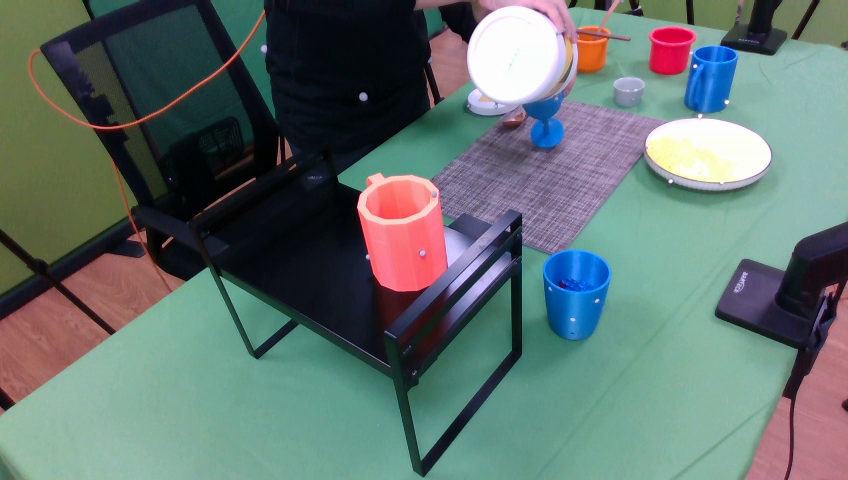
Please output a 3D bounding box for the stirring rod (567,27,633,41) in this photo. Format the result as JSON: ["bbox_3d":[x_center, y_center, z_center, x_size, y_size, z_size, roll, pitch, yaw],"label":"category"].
[{"bbox_3d":[0.381,-0.463,1.356,0.175,0.006,0.014,22,47,30],"label":"stirring rod"}]

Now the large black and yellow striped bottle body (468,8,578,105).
[{"bbox_3d":[0.156,-0.273,0.907,0.130,0.131,0.185,12,20,22],"label":"large black and yellow striped bottle body"}]

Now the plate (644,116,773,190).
[{"bbox_3d":[0.495,-0.149,1.063,0.209,0.038,0.208,-5,40,4],"label":"plate"}]

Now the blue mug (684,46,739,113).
[{"bbox_3d":[0.556,-0.310,1.190,0.117,0.106,0.081,-32,46,-25],"label":"blue mug"}]

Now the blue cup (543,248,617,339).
[{"bbox_3d":[0.199,0.076,0.797,0.092,0.100,0.092,-4,39,4],"label":"blue cup"}]

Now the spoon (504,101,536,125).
[{"bbox_3d":[0.227,-0.285,1.269,0.041,0.022,0.194,1,36,45],"label":"spoon"}]

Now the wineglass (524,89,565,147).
[{"bbox_3d":[0.217,-0.236,1.081,0.073,0.173,0.073,-5,69,14],"label":"wineglass"}]

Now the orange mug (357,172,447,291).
[{"bbox_3d":[-0.030,-0.018,0.669,0.084,0.101,0.125,-23,47,-16],"label":"orange mug"}]

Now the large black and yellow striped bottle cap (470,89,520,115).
[{"bbox_3d":[0.157,-0.308,1.316,0.115,0.019,0.114,-7,39,6],"label":"large black and yellow striped bottle cap"}]

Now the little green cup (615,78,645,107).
[{"bbox_3d":[0.426,-0.306,1.257,0.061,0.039,0.061,-4,40,4],"label":"little green cup"}]

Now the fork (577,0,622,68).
[{"bbox_3d":[0.409,-0.484,1.381,0.028,0.019,0.207,37,101,46],"label":"fork"}]
